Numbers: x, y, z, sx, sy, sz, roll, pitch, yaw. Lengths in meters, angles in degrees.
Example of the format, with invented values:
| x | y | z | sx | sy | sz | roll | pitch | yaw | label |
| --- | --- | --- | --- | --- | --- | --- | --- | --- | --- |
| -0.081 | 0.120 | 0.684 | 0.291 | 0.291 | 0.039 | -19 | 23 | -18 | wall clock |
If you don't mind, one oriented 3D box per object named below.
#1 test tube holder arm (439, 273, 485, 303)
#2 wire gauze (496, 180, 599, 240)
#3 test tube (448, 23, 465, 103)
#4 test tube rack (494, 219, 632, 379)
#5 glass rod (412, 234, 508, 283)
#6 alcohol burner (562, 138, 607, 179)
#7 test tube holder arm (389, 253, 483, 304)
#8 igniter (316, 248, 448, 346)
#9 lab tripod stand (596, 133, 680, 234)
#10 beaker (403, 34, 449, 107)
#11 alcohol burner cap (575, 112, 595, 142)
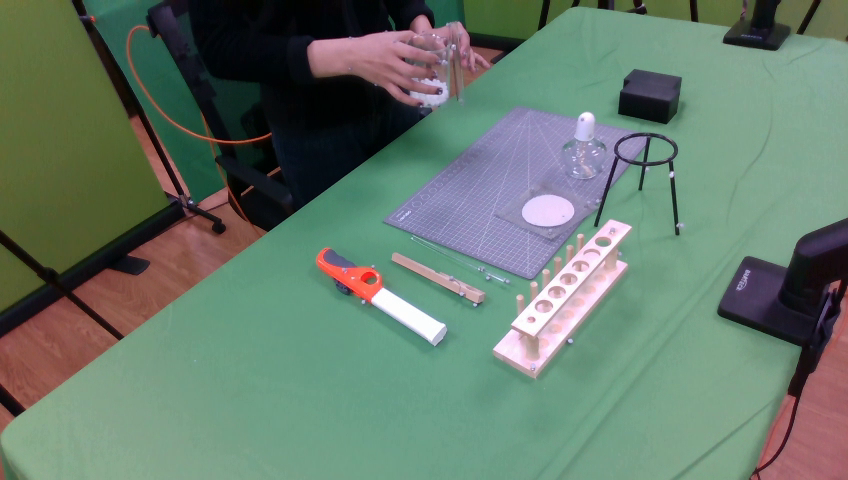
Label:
| x | y | z | sx | sy | sz | roll | pitch | yaw | label |
| --- | --- | --- | --- | --- | --- | --- | --- | --- | --- |
| 0.053 | 0.070 | 0.896 | 0.087 | 0.015 | 0.010 | 24 | 15 | 34 | test tube holder arm |
| 0.206 | -0.050 | 1.012 | 0.125 | 0.011 | 0.120 | -34 | 45 | -26 | wire gauze |
| 0.060 | -0.316 | 1.092 | 0.017 | 0.151 | 0.017 | -6 | 40 | 6 | test tube |
| 0.191 | 0.068 | 0.818 | 0.066 | 0.085 | 0.243 | 25 | 51 | 35 | test tube rack |
| 0.051 | 0.027 | 0.951 | 0.198 | 0.008 | 0.008 | 25 | 52 | 37 | glass rod |
| 0.280 | -0.167 | 1.052 | 0.078 | 0.119 | 0.077 | -5 | 38 | 4 | alcohol burner |
| 0.015 | 0.056 | 0.916 | 0.177 | 0.015 | 0.013 | 23 | 15 | 33 | test tube holder arm |
| -0.074 | 0.078 | 0.902 | 0.274 | 0.025 | 0.057 | 28 | 63 | 36 | igniter |
| 0.338 | -0.091 | 0.940 | 0.148 | 0.132 | 0.147 | -7 | 39 | 6 | lab tripod stand |
| 0.006 | -0.281 | 1.006 | 0.073 | 0.100 | 0.084 | 19 | 43 | 21 | beaker |
| 0.276 | -0.194 | 1.028 | 0.034 | 0.048 | 0.033 | -2 | 44 | 3 | alcohol burner cap |
